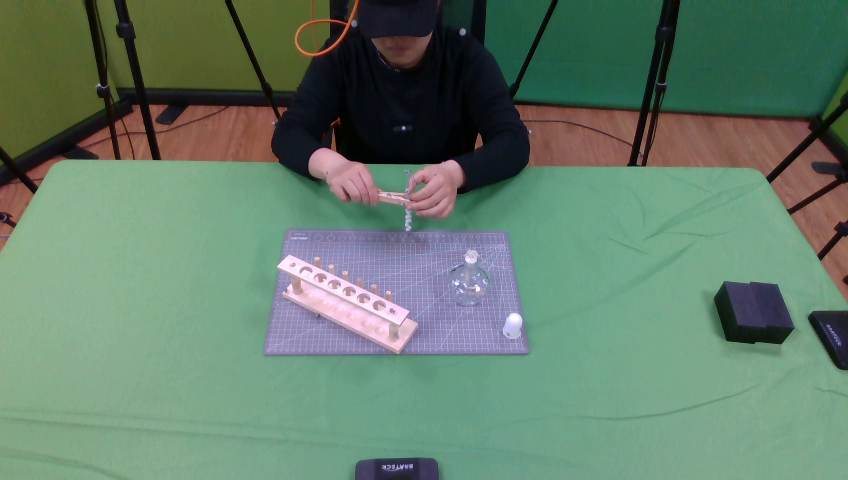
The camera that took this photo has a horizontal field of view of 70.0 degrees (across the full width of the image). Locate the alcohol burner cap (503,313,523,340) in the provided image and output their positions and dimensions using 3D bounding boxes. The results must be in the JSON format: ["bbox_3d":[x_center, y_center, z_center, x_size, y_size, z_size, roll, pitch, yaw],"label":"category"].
[{"bbox_3d":[0.156,0.148,1.051,0.034,0.048,0.033,1,45,-1],"label":"alcohol burner cap"}]

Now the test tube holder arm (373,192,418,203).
[{"bbox_3d":[-0.055,-0.081,1.163,0.088,0.015,0.010,5,31,-1],"label":"test tube holder arm"}]

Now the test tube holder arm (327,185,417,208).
[{"bbox_3d":[-0.100,-0.085,1.162,0.178,0.015,0.013,10,30,8],"label":"test tube holder arm"}]

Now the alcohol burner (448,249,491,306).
[{"bbox_3d":[0.081,0.062,1.078,0.078,0.120,0.077,1,45,-1],"label":"alcohol burner"}]

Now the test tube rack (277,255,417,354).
[{"bbox_3d":[-0.131,0.099,1.045,0.241,0.085,0.066,23,49,17],"label":"test tube rack"}]

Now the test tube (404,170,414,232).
[{"bbox_3d":[-0.030,-0.071,1.162,0.017,0.151,0.017,2,44,-2],"label":"test tube"}]
